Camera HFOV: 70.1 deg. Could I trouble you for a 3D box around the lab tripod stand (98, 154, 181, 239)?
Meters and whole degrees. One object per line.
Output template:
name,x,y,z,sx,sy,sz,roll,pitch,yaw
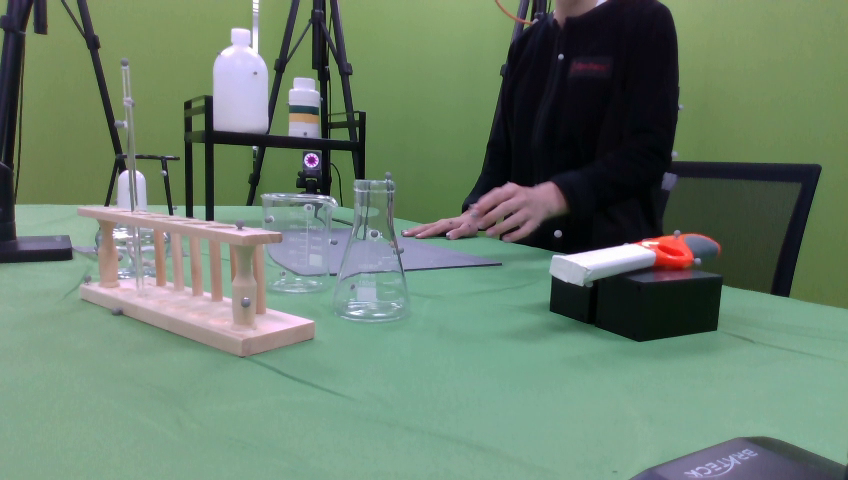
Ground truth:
lab tripod stand,-0.427,-0.066,0.942,0.148,0.131,0.148,1,6,0

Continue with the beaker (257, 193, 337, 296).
beaker,-0.130,0.004,0.628,0.084,0.100,0.074,5,8,15

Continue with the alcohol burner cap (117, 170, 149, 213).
alcohol burner cap,-0.320,-0.052,0.661,0.034,0.048,0.034,-3,0,0

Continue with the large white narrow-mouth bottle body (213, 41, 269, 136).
large white narrow-mouth bottle body,-0.352,-0.301,1.166,0.102,0.194,0.102,1,8,0

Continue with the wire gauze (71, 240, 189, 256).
wire gauze,-0.399,0.013,0.820,0.126,0.011,0.121,-3,8,-37

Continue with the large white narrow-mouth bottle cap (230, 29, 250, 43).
large white narrow-mouth bottle cap,-0.351,-0.387,1.152,0.038,0.024,0.037,1,8,0

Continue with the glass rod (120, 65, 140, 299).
glass rod,-0.249,-0.047,0.513,0.008,0.199,0.008,-1,4,0

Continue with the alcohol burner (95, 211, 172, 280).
alcohol burner,-0.320,-0.016,0.667,0.078,0.119,0.078,0,7,0

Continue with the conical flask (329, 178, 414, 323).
conical flask,-0.045,0.007,0.533,0.075,0.122,0.075,2,7,0

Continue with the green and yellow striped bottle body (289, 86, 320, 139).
green and yellow striped bottle body,-0.250,-0.272,1.261,0.063,0.119,0.063,3,7,0

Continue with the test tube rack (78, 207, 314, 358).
test tube rack,-0.196,0.024,0.499,0.241,0.085,0.067,8,9,37

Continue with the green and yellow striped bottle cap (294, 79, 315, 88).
green and yellow striped bottle cap,-0.248,-0.323,1.256,0.045,0.020,0.045,3,9,0

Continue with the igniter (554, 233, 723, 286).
igniter,0.214,0.015,0.570,0.278,0.025,0.057,-5,22,-44
